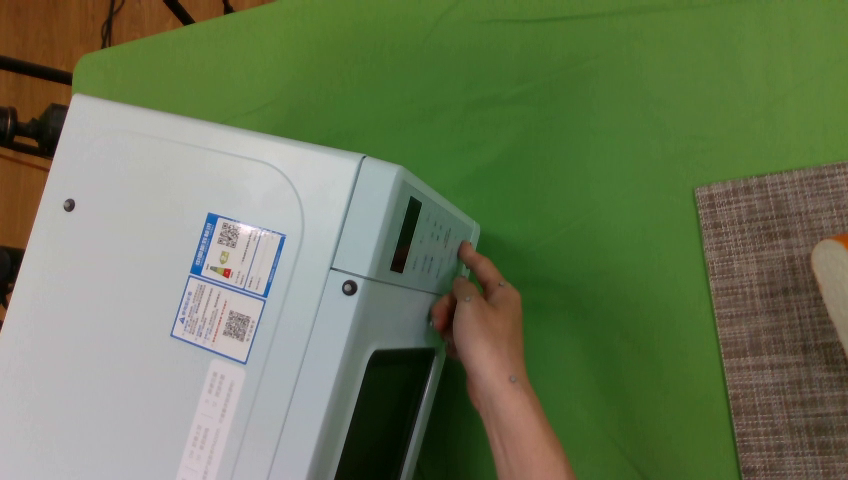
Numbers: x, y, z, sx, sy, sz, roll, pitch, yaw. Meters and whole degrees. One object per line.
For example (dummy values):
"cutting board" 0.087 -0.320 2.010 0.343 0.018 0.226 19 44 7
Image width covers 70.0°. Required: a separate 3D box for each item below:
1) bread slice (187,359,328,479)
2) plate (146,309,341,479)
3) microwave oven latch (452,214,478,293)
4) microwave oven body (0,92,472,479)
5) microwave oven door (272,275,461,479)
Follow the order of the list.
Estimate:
"bread slice" -0.169 0.200 0.600 0.134 0.018 0.106 -33 73 3
"plate" -0.176 0.173 0.602 0.207 0.039 0.207 -2 81 15
"microwave oven latch" 0.031 0.011 0.603 0.030 0.030 0.079 17 89 19
"microwave oven body" -0.181 0.134 0.554 0.324 0.262 0.441 14 88 19
"microwave oven door" -0.061 0.207 0.498 0.039 0.245 0.355 14 87 21
